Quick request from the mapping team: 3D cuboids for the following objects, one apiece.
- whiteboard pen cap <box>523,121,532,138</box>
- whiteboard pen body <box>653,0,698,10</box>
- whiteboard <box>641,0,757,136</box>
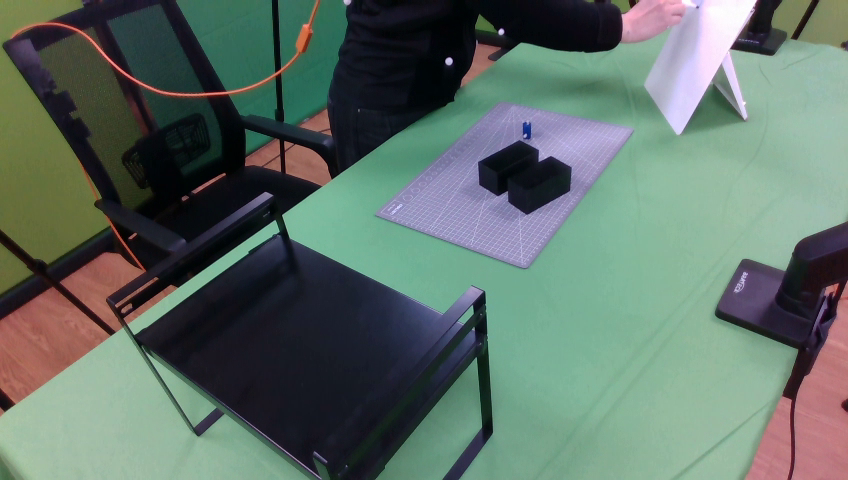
[{"bbox_3d":[0.204,-0.216,1.185,0.018,0.033,0.018,-7,41,6],"label":"whiteboard pen cap"},{"bbox_3d":[0.452,-0.447,1.125,0.141,0.017,0.017,8,38,-18],"label":"whiteboard pen body"},{"bbox_3d":[0.576,-0.367,1.147,0.144,0.306,0.216,9,39,-9],"label":"whiteboard"}]
